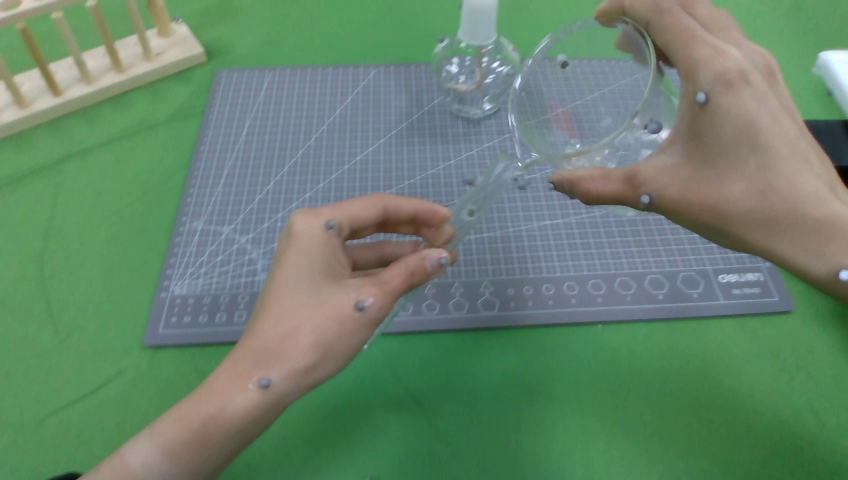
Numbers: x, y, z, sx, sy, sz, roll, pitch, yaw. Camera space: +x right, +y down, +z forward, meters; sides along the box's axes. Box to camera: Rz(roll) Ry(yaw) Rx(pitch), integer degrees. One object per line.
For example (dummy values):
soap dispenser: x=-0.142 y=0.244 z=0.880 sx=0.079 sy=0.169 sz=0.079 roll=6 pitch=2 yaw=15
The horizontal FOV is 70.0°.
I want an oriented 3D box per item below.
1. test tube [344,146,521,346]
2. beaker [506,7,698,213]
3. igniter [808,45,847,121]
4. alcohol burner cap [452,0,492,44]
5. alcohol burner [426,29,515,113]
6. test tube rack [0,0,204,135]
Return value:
test tube: x=0.000 y=0.009 z=0.332 sx=0.017 sy=0.150 sz=0.017 roll=31 pitch=27 yaw=-18
beaker: x=0.098 y=-0.059 z=0.324 sx=0.084 sy=0.101 sz=0.073 roll=-52 pitch=50 yaw=11
igniter: x=0.336 y=-0.051 z=0.424 sx=0.057 sy=0.025 sz=0.274 roll=-1 pitch=51 yaw=4
alcohol burner cap: x=0.040 y=-0.188 z=0.492 sx=0.034 sy=0.048 sz=0.033 roll=2 pitch=51 yaw=-2
alcohol burner: x=0.041 y=-0.168 z=0.516 sx=0.078 sy=0.120 sz=0.077 roll=1 pitch=54 yaw=-1
test tube rack: x=-0.336 y=-0.171 z=0.542 sx=0.242 sy=0.086 sz=0.066 roll=-29 pitch=57 yaw=-20
